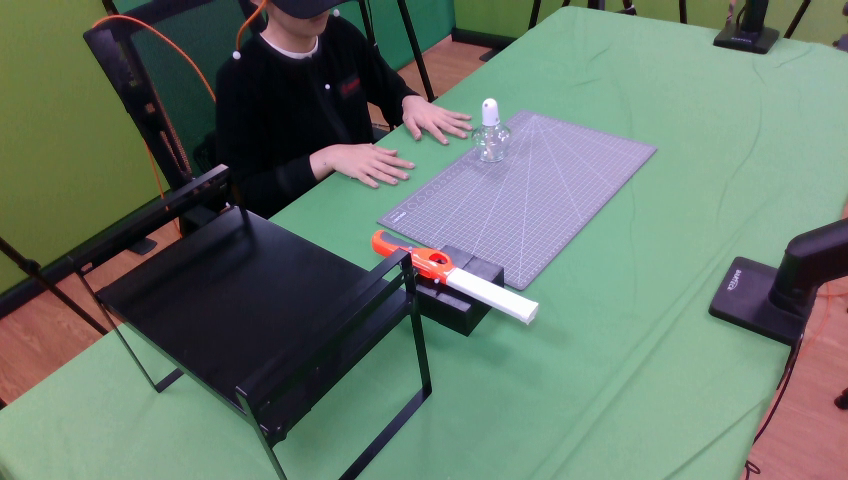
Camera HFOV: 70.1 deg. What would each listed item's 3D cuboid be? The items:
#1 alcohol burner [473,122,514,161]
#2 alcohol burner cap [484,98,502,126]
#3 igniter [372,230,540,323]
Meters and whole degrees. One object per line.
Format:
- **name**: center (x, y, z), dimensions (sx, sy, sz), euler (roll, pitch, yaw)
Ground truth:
- **alcohol burner**: center (0.127, -0.208, 1.123), dimensions (0.078, 0.119, 0.077), euler (-5, 39, 5)
- **alcohol burner cap**: center (0.124, -0.235, 1.100), dimensions (0.034, 0.048, 0.033), euler (-6, 37, 5)
- **igniter**: center (0.032, 0.045, 0.842), dimensions (0.274, 0.025, 0.057), euler (24, 47, 29)
